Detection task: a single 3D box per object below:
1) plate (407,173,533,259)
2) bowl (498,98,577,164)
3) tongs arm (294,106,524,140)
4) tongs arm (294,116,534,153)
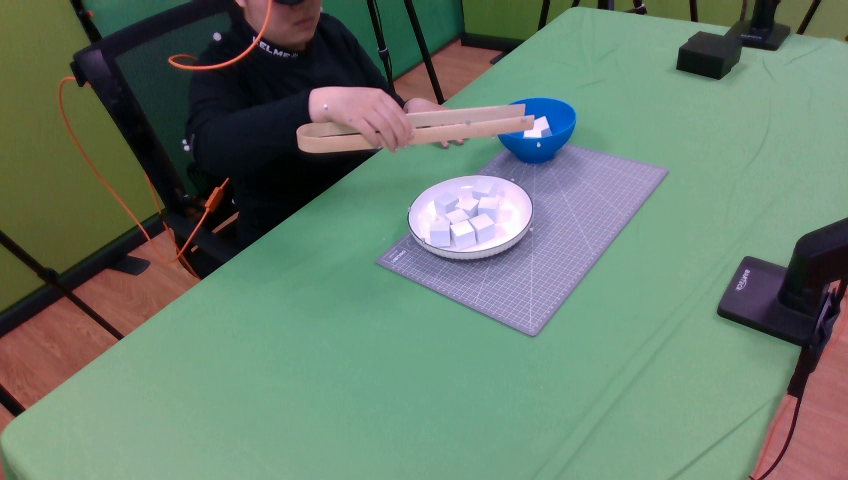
[{"bbox_3d":[0.076,-0.037,0.997,0.207,0.039,0.206,-5,40,5],"label":"plate"},{"bbox_3d":[0.207,-0.196,1.128,0.151,0.077,0.150,-5,40,5],"label":"bowl"},{"bbox_3d":[-0.016,-0.190,0.990,0.389,0.028,0.028,-8,39,-13],"label":"tongs arm"},{"bbox_3d":[-0.009,-0.174,0.966,0.386,0.026,0.050,-10,36,-15],"label":"tongs arm"}]
